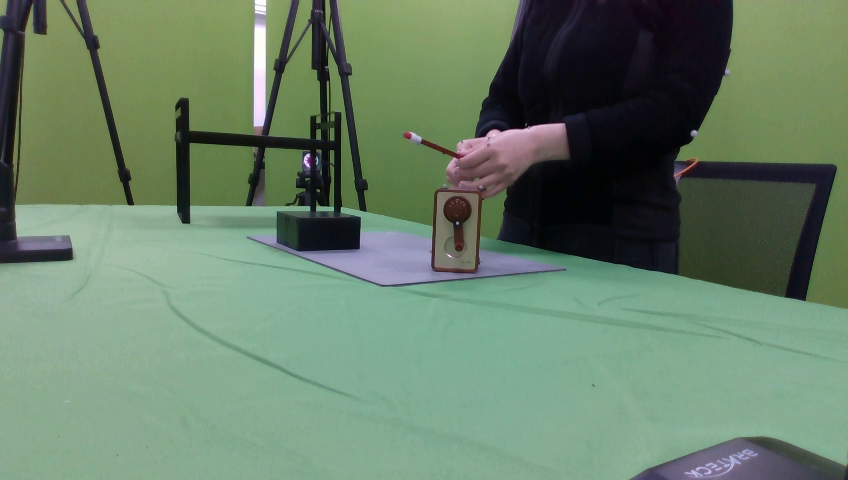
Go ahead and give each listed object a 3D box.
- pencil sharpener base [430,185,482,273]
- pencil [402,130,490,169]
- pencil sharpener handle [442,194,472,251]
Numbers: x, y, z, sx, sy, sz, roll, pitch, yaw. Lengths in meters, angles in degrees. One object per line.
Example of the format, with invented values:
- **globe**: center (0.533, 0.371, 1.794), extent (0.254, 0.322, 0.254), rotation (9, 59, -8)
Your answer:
- **pencil sharpener base**: center (0.042, -0.015, 0.784), extent (0.061, 0.107, 0.076), rotation (3, 8, 4)
- **pencil**: center (0.040, -0.133, 0.914), extent (0.195, 0.012, 0.012), rotation (14, -3, -44)
- **pencil sharpener handle**: center (0.041, -0.021, 0.731), extent (0.036, 0.067, 0.030), rotation (-4, 7, 4)
